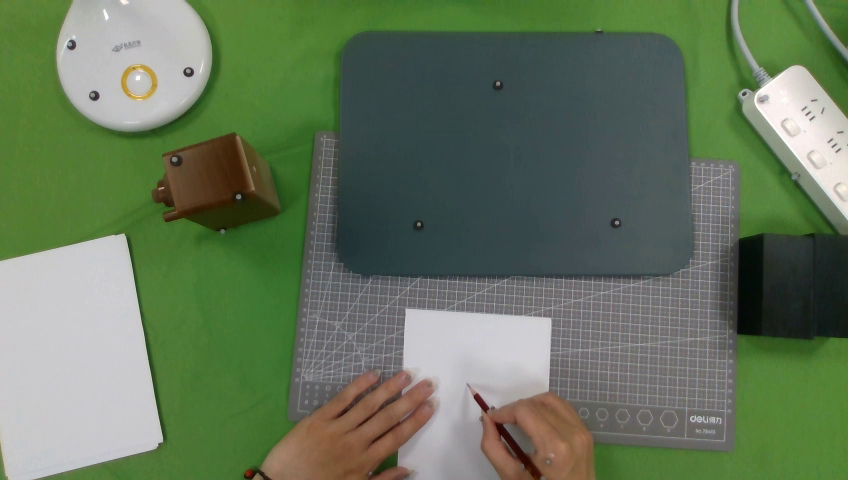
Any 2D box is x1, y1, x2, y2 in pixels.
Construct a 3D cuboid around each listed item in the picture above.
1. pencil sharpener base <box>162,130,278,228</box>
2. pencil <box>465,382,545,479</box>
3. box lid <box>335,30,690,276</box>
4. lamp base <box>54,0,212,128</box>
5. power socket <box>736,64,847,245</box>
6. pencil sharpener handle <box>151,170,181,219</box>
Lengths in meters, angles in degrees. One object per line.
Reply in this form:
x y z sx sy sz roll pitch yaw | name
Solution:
-0.193 -0.054 0.581 0.077 0.107 0.061 -17 84 -2 | pencil sharpener base
0.083 0.186 0.535 0.012 0.192 0.012 -14 122 -22 | pencil
0.094 -0.094 0.637 0.372 0.015 0.262 0 84 -1 | box lid
-0.309 -0.215 0.559 0.160 0.181 0.178 -27 82 -4 | lamp base
0.422 -0.084 0.631 0.072 0.032 0.226 -36 85 -5 | power socket
-0.241 -0.037 0.566 0.030 0.068 0.035 -17 71 -2 | pencil sharpener handle
